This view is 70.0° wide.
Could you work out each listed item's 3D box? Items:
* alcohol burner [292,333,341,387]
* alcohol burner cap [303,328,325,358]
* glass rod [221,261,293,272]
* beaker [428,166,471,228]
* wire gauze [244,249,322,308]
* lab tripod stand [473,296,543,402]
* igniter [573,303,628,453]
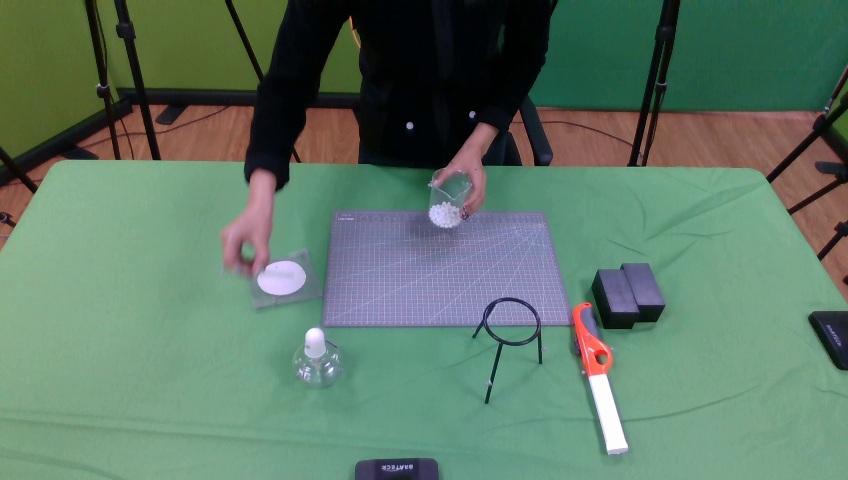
[{"bbox_3d":[-0.170,0.179,0.950,0.078,0.120,0.077,2,48,-2],"label":"alcohol burner"},{"bbox_3d":[-0.169,0.154,0.924,0.034,0.048,0.033,4,41,-4],"label":"alcohol burner cap"},{"bbox_3d":[-0.256,0.042,0.951,0.008,0.200,0.008,-2,84,17],"label":"glass rod"},{"bbox_3d":[0.046,-0.076,1.151,0.074,0.101,0.083,-1,48,-7],"label":"beaker"},{"bbox_3d":[-0.262,0.071,1.121,0.125,0.011,0.120,-11,48,-17],"label":"wire gauze"},{"bbox_3d":[0.132,0.168,0.969,0.148,0.132,0.147,3,48,-3],"label":"lab tripod stand"},{"bbox_3d":[0.288,0.217,1.006,0.057,0.025,0.274,-9,46,8],"label":"igniter"}]
